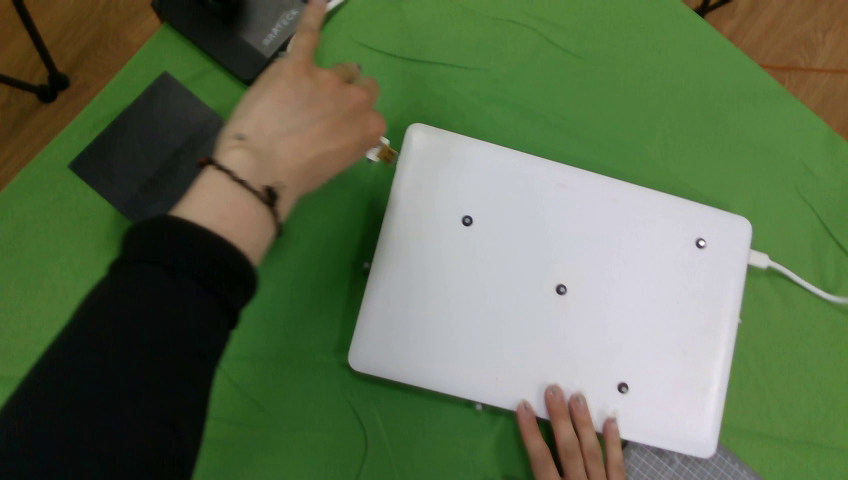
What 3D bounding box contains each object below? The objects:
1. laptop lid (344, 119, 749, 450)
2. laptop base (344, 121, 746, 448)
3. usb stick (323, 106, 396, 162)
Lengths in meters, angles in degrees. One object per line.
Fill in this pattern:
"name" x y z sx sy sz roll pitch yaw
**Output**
"laptop lid" 0.124 0.043 0.562 0.357 0.013 0.241 16 83 -6
"laptop base" 0.123 0.042 0.575 0.355 0.023 0.235 15 83 -6
"usb stick" -0.050 -0.084 0.491 0.059 0.027 0.021 34 97 9
